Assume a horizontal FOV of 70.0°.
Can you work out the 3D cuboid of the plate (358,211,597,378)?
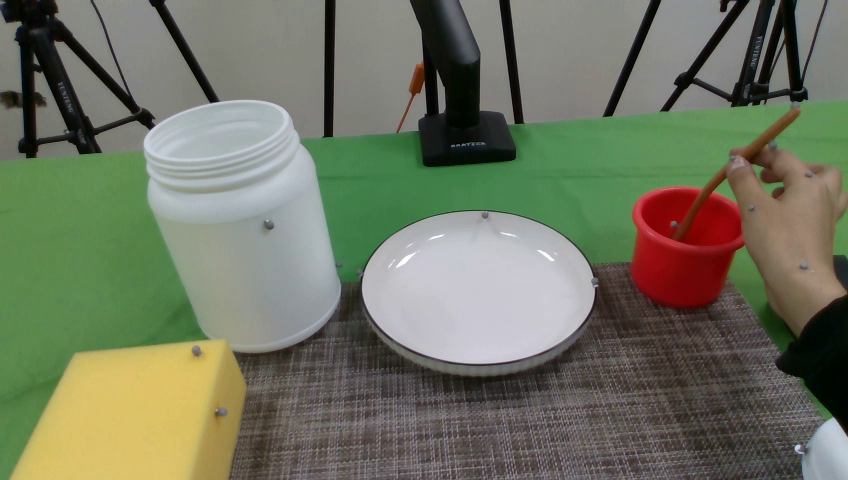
[{"bbox_3d":[0.047,0.047,0.545,0.209,0.038,0.207,-1,37,2],"label":"plate"}]

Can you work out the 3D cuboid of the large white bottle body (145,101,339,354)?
[{"bbox_3d":[-0.149,-0.011,0.513,0.130,0.186,0.129,-3,36,3],"label":"large white bottle body"}]

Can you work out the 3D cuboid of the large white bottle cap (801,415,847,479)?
[{"bbox_3d":[0.311,0.165,0.393,0.115,0.018,0.113,0,38,0],"label":"large white bottle cap"}]

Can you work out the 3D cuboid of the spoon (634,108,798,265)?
[{"bbox_3d":[0.240,-0.037,0.516,0.021,0.195,0.041,38,47,14],"label":"spoon"}]

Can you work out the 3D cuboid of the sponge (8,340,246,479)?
[{"bbox_3d":[-0.197,0.164,0.395,0.118,0.061,0.204,-6,37,-1],"label":"sponge"}]
